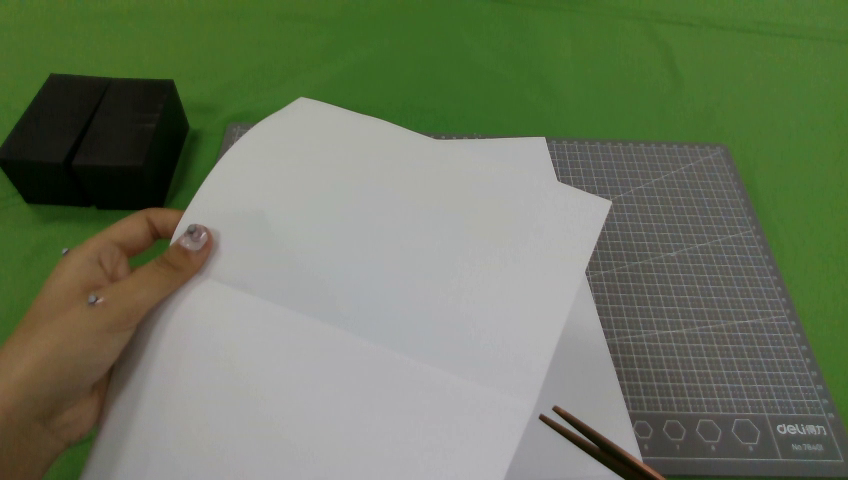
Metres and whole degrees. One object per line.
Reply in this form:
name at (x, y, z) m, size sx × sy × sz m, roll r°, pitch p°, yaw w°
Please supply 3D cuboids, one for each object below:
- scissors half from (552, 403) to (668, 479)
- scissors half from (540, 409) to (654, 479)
scissors half at (0.120, 0.122, 0.256) m, size 0.176 × 0.040 × 0.012 m, roll 40°, pitch 69°, yaw -9°
scissors half at (0.123, 0.114, 0.235) m, size 0.174 × 0.040 × 0.013 m, roll 29°, pitch 63°, yaw 17°
